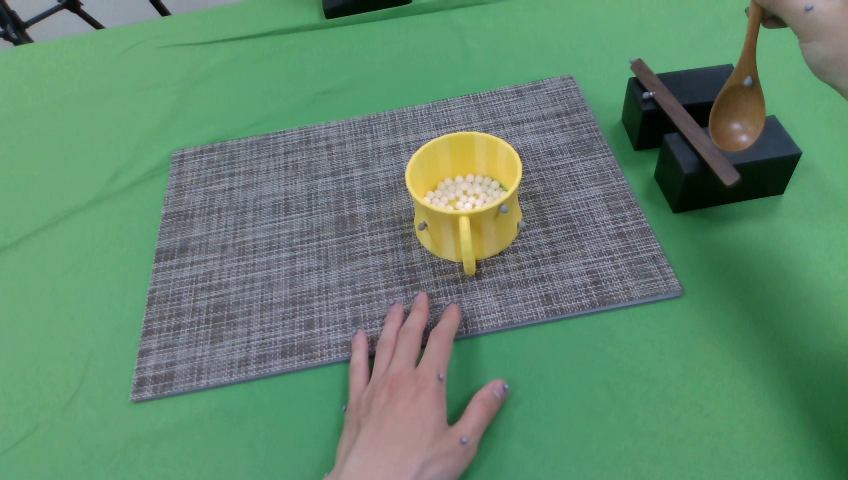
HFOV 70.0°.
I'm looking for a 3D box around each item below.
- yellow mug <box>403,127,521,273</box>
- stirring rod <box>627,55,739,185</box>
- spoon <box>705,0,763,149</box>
[{"bbox_3d":[0.035,-0.031,0.524,0.100,0.064,0.129,-4,52,5],"label":"yellow mug"},{"bbox_3d":[0.225,-0.112,0.536,0.014,0.006,0.174,-38,48,23],"label":"stirring rod"},{"bbox_3d":[0.242,-0.161,0.446,0.041,0.195,0.021,20,39,34],"label":"spoon"}]
